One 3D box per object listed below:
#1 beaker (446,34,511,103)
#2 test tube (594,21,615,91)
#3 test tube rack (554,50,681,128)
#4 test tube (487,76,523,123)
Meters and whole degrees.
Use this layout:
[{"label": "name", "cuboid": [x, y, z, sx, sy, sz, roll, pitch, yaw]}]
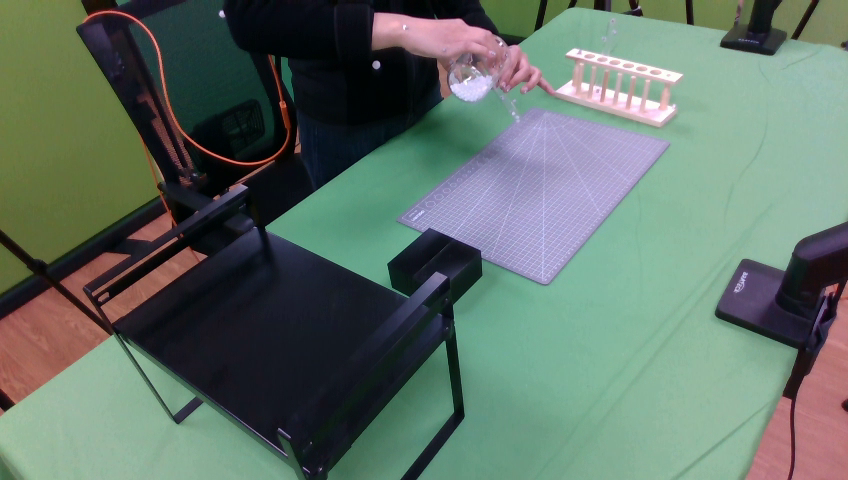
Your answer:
[{"label": "beaker", "cuboid": [0.085, -0.268, 0.960, 0.073, 0.084, 0.100, 14, 46, 27]}, {"label": "test tube", "cuboid": [0.367, -0.372, 1.232, 0.017, 0.151, 0.017, 0, 43, 0]}, {"label": "test tube rack", "cuboid": [0.388, -0.311, 1.234, 0.240, 0.085, 0.067, 28, 51, 34]}, {"label": "test tube", "cuboid": [0.147, -0.246, 1.075, 0.017, 0.152, 0.017, -10, 68, 25]}]
